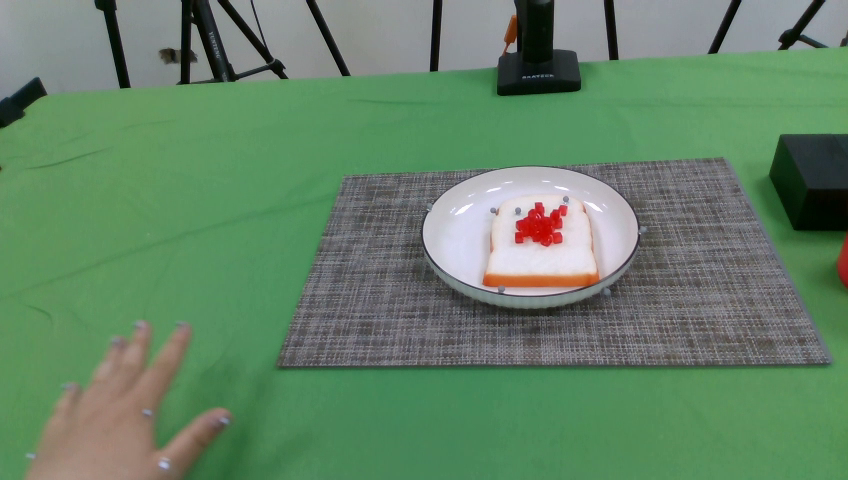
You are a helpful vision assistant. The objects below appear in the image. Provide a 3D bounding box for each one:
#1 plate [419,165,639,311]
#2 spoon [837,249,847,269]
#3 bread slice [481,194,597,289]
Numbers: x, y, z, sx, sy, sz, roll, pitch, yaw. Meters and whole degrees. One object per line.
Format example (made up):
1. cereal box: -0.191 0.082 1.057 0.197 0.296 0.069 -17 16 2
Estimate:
1. plate: 0.099 -0.003 0.597 0.209 0.038 0.207 -5 39 4
2. spoon: 0.432 -0.014 0.474 0.022 0.194 0.041 47 47 -8
3. bread slice: 0.112 -0.002 0.597 0.105 0.019 0.130 0 41 9
